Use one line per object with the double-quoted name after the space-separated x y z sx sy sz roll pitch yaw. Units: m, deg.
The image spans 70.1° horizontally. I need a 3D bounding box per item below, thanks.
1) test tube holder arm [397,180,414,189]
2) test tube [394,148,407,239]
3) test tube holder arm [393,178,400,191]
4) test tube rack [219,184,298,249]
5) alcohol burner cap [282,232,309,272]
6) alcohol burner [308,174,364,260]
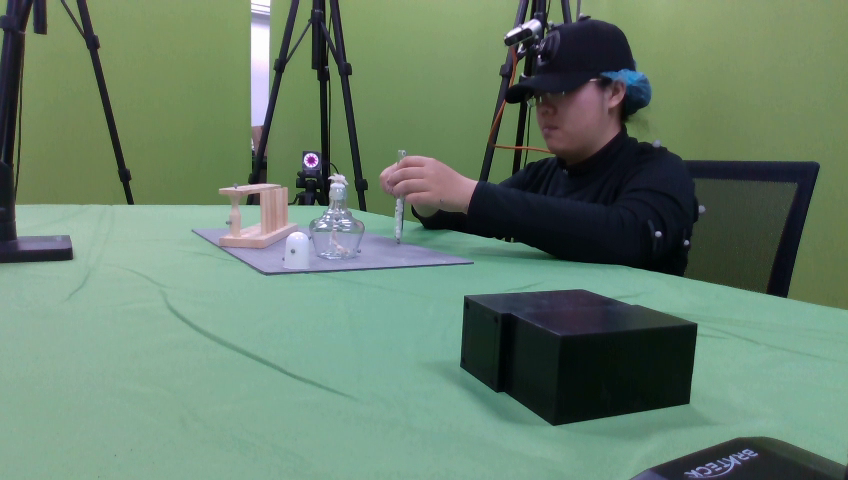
-0.036 -0.095 1.028 0.010 0.015 0.087 7 1 -21 "test tube holder arm"
-0.039 -0.077 1.006 0.017 0.150 0.017 3 6 0 "test tube"
-0.049 -0.097 1.070 0.013 0.015 0.178 8 1 -5 "test tube holder arm"
-0.266 -0.046 1.001 0.067 0.085 0.242 3 7 0 "test tube rack"
-0.157 0.014 0.740 0.034 0.048 0.034 3 6 0 "alcohol burner cap"
-0.121 -0.033 0.841 0.078 0.119 0.078 3 5 0 "alcohol burner"
